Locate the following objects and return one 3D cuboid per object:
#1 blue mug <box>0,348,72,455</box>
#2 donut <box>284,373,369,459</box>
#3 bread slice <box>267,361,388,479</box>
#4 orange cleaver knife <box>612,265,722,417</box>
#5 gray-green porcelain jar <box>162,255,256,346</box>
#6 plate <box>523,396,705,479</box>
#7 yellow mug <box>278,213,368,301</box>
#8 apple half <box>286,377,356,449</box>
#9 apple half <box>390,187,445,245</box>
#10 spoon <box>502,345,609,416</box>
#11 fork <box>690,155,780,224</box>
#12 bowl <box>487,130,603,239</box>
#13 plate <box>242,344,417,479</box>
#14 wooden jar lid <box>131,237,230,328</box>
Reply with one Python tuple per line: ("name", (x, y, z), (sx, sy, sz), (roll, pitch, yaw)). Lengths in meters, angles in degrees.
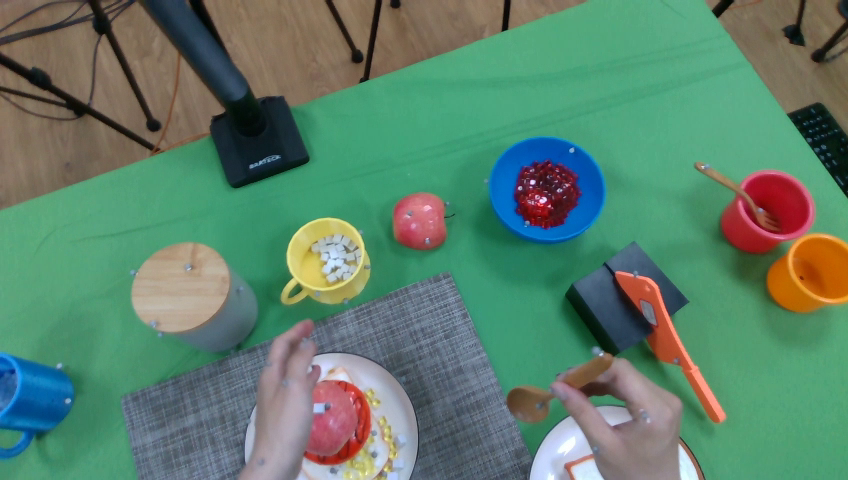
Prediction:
("blue mug", (-0.490, 0.194, 0.718), (0.082, 0.106, 0.115), (-2, 69, 1))
("donut", (-0.113, 0.205, 0.708), (0.099, 0.048, 0.098), (-1, 70, 2))
("bread slice", (-0.107, 0.228, 0.731), (0.107, 0.018, 0.133), (-38, 73, -11))
("orange cleaver knife", (0.295, 0.121, 0.741), (0.012, 0.077, 0.211), (-31, 94, -17))
("gray-green porcelain jar", (-0.271, 0.072, 0.748), (0.106, 0.127, 0.105), (0, 69, 1))
("plate", (0.218, 0.290, 0.704), (0.209, 0.038, 0.207), (-1, 70, 2))
("yellow mug", (-0.138, 0.032, 0.791), (0.131, 0.064, 0.099), (-43, 74, -13))
("apple half", (-0.117, 0.193, 0.674), (0.081, 0.033, 0.081), (-3, 70, 8))
("apple half", (-0.010, -0.038, 0.822), (0.074, 0.054, 0.080), (-1, 70, 4))
("spoon", (0.110, 0.124, 0.519), (0.041, 0.194, 0.021), (40, 65, 7))
("fork", (0.400, -0.063, 0.771), (0.209, 0.018, 0.028), (24, 64, -34))
("bowl", (0.157, -0.062, 0.814), (0.151, 0.077, 0.150), (0, 70, 1))
("plate", (-0.111, 0.231, 0.729), (0.208, 0.039, 0.206), (0, 70, 1))
("wooden jar lid", (-0.274, 0.049, 0.688), (0.108, 0.021, 0.107), (0, 67, 0))
